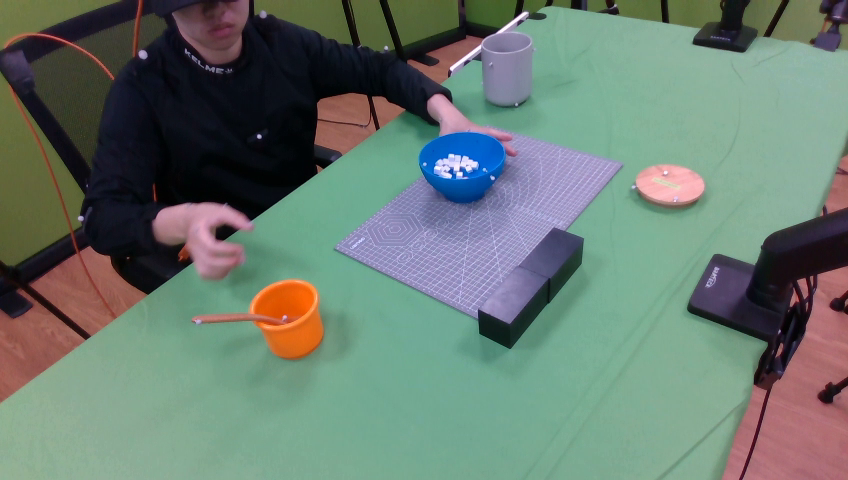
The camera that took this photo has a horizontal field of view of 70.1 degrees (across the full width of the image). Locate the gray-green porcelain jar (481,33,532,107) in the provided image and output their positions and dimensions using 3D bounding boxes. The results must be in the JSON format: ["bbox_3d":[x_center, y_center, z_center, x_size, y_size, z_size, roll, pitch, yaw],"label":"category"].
[{"bbox_3d":[0.175,-0.355,1.278,0.106,0.127,0.105,-4,41,4],"label":"gray-green porcelain jar"}]

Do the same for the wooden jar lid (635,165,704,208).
[{"bbox_3d":[0.410,-0.089,1.014,0.108,0.021,0.108,-5,42,5],"label":"wooden jar lid"}]

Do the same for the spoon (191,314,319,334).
[{"bbox_3d":[-0.212,0.105,0.781,0.041,0.195,0.021,29,97,37],"label":"spoon"}]

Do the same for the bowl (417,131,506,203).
[{"bbox_3d":[0.068,-0.116,1.048,0.151,0.077,0.150,-4,40,4],"label":"bowl"}]
